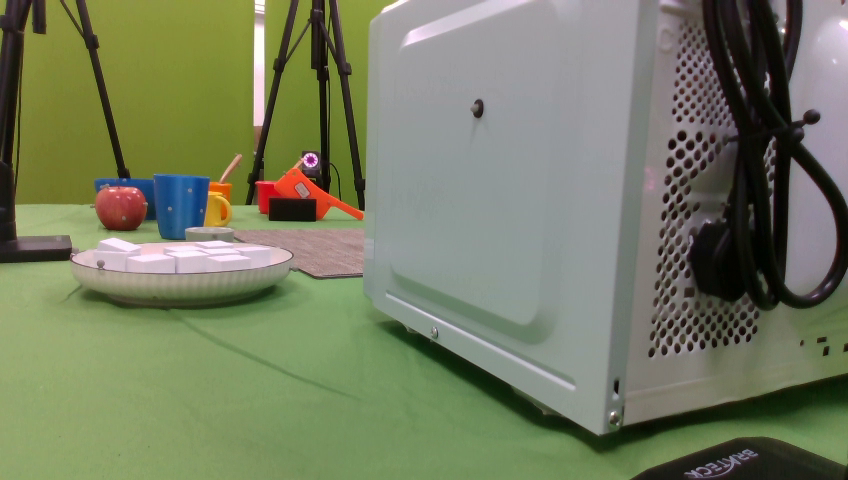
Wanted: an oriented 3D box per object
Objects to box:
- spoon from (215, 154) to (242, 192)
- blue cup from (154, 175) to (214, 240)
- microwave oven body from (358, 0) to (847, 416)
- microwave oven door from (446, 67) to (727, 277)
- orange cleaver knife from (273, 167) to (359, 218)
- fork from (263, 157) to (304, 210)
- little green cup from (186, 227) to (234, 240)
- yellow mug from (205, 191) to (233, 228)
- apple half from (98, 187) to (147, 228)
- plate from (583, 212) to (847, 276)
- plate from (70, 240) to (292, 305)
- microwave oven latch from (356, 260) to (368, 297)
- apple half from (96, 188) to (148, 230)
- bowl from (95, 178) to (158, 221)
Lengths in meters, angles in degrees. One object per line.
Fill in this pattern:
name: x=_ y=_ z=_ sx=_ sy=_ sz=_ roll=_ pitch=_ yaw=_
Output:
spoon: x=-0.438 y=-0.124 z=1.318 sx=0.041 sy=0.193 sz=0.022 roll=6 pitch=-36 yaw=15
blue cup: x=-0.390 y=-0.053 z=0.978 sx=0.093 sy=0.100 sz=0.092 roll=3 pitch=6 yaw=0
microwave oven body: x=0.211 y=-0.047 z=0.474 sx=0.444 sy=0.260 sz=0.324 roll=-1 pitch=7 yaw=-28
microwave oven door: x=0.192 y=-0.094 z=0.795 sx=0.354 sy=0.243 sz=0.039 roll=7 pitch=9 yaw=33
orange cleaver knife: x=-0.238 y=-0.091 z=1.381 sx=0.212 sy=0.077 sz=0.012 roll=31 pitch=0 yaw=-19
fork: x=-0.345 y=-0.143 z=1.506 sx=0.028 sy=0.019 sz=0.207 roll=-4 pitch=46 yaw=28
little green cup: x=-0.284 y=0.005 z=0.805 sx=0.061 sy=0.038 sz=0.061 roll=2 pitch=8 yaw=0
yellow mug: x=-0.415 y=-0.057 z=1.131 sx=0.130 sy=0.064 sz=0.100 roll=6 pitch=8 yaw=16
apple half: x=-0.534 y=-0.059 z=1.071 sx=0.082 sy=0.081 sz=0.032 roll=-1 pitch=11 yaw=-25
plate: x=0.239 y=0.000 z=0.510 sx=0.209 sy=0.038 sz=0.209 roll=2 pitch=6 yaw=0
plate: x=-0.242 y=0.031 z=0.618 sx=0.208 sy=0.039 sz=0.207 roll=2 pitch=8 yaw=0
microwave oven latch: x=-0.020 y=0.033 z=0.530 sx=0.079 sy=0.029 sz=0.030 roll=0 pitch=7 yaw=-26
apple half: x=-0.517 y=-0.052 z=1.036 sx=0.081 sy=0.074 sz=0.053 roll=2 pitch=10 yaw=-26
bowl: x=-0.576 y=-0.081 z=1.217 sx=0.151 sy=0.077 sz=0.151 roll=3 pitch=8 yaw=0
